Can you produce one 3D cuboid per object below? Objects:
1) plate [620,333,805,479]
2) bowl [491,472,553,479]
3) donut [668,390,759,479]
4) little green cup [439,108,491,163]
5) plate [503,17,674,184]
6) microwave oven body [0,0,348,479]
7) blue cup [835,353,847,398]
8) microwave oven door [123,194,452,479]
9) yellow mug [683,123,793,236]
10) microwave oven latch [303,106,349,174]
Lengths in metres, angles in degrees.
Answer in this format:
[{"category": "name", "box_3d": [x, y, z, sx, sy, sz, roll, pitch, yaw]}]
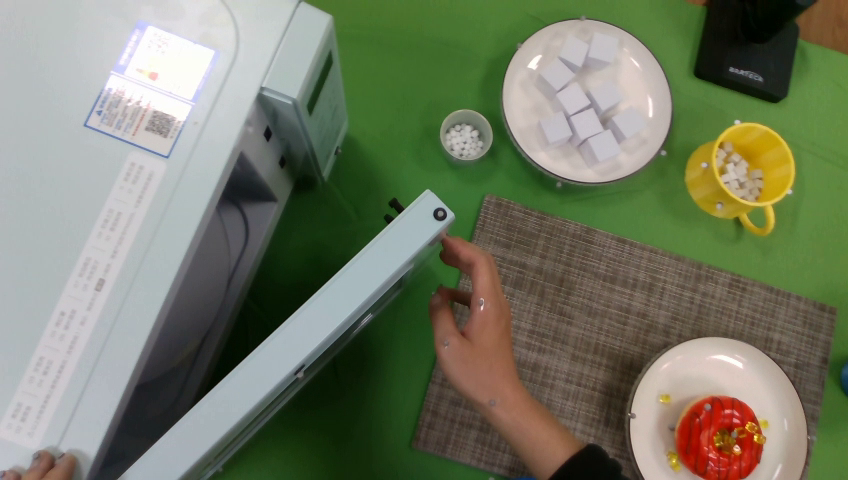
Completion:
[{"category": "plate", "box_3d": [0.318, 0.208, 0.682, 0.209, 0.038, 0.208, 1, 81, -4]}, {"category": "bowl", "box_3d": [0.097, 0.313, 0.630, 0.151, 0.077, 0.151, 1, 81, -4]}, {"category": "donut", "box_3d": [0.319, 0.216, 0.669, 0.099, 0.048, 0.099, 0, 84, -3]}, {"category": "little green cup", "box_3d": [0.046, -0.120, 0.713, 0.061, 0.038, 0.061, 0, 83, -3]}, {"category": "plate", "box_3d": [0.195, -0.166, 0.734, 0.208, 0.039, 0.207, 1, 81, -5]}, {"category": "microwave oven body", "box_3d": [-0.304, -0.023, 0.552, 0.326, 0.260, 0.440, 21, 81, -2]}, {"category": "blue cup", "box_3d": [0.526, 0.155, 0.679, 0.093, 0.100, 0.092, 1, 80, -6]}, {"category": "microwave oven door", "box_3d": [-0.122, 0.109, 0.543, 0.355, 0.244, 0.039, -44, 85, -10]}, {"category": "yellow mug", "box_3d": [0.377, -0.067, 0.720, 0.100, 0.064, 0.130, -19, 84, -7]}, {"category": "microwave oven latch", "box_3d": [-0.110, -0.116, 0.681, 0.030, 0.029, 0.079, 25, 81, -1]}]
